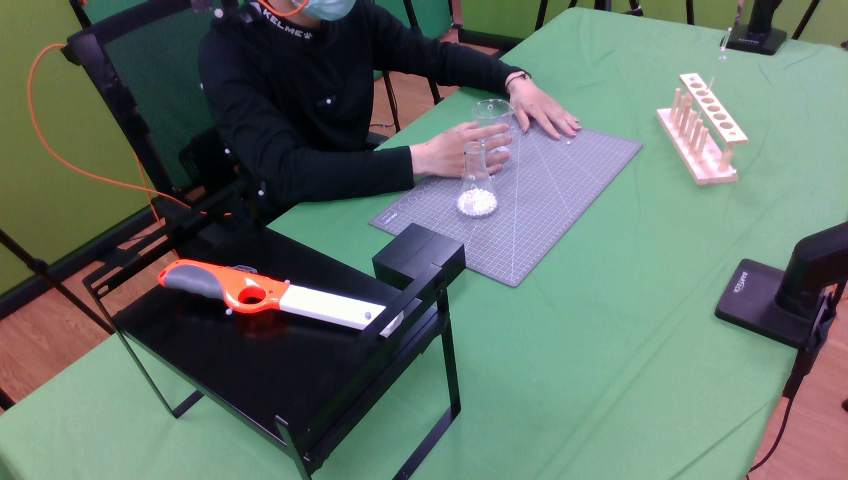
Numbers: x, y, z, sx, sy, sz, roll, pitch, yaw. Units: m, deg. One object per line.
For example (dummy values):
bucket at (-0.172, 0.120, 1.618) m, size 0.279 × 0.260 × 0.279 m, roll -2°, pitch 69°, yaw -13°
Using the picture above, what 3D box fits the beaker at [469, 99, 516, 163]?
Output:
beaker at (0.129, -0.200, 1.123) m, size 0.084 × 0.101 × 0.074 m, roll 0°, pitch 39°, yaw 9°

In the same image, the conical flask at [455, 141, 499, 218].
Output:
conical flask at (0.085, -0.103, 0.999) m, size 0.075 × 0.122 × 0.075 m, roll -4°, pitch 40°, yaw 4°

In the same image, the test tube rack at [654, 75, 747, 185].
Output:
test tube rack at (0.491, -0.205, 1.092) m, size 0.067 × 0.085 × 0.241 m, roll -5°, pitch 40°, yaw 3°

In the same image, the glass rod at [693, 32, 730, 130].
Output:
glass rod at (0.507, -0.275, 1.072) m, size 0.008 × 0.200 × 0.008 m, roll -2°, pitch 48°, yaw 2°

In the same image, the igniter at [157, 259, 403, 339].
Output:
igniter at (-0.157, 0.059, 0.638) m, size 0.275 × 0.025 × 0.057 m, roll 11°, pitch 43°, yaw 14°
